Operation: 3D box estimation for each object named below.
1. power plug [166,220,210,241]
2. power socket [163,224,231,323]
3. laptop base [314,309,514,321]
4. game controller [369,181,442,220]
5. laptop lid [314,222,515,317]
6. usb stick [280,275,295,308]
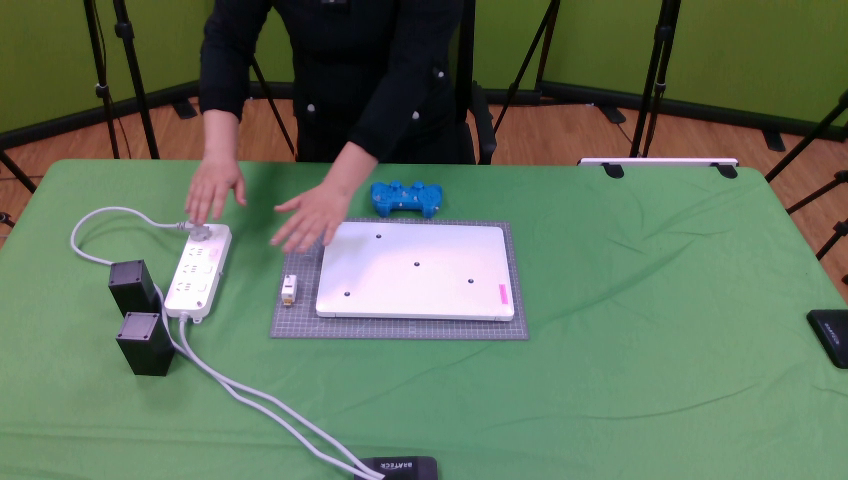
[{"bbox_3d":[-0.440,-0.016,1.144,0.072,0.053,0.035,7,46,8],"label":"power plug"},{"bbox_3d":[-0.411,0.052,1.107,0.072,0.033,0.225,3,46,-3],"label":"power socket"},{"bbox_3d":[-0.017,0.059,1.140,0.354,0.023,0.234,2,42,-3],"label":"laptop base"},{"bbox_3d":[-0.039,-0.092,1.268,0.155,0.052,0.096,2,50,-2],"label":"game controller"},{"bbox_3d":[-0.016,0.049,1.134,0.357,0.013,0.240,3,43,-1],"label":"laptop lid"},{"bbox_3d":[-0.244,0.093,1.081,0.021,0.027,0.059,3,47,-5],"label":"usb stick"}]
